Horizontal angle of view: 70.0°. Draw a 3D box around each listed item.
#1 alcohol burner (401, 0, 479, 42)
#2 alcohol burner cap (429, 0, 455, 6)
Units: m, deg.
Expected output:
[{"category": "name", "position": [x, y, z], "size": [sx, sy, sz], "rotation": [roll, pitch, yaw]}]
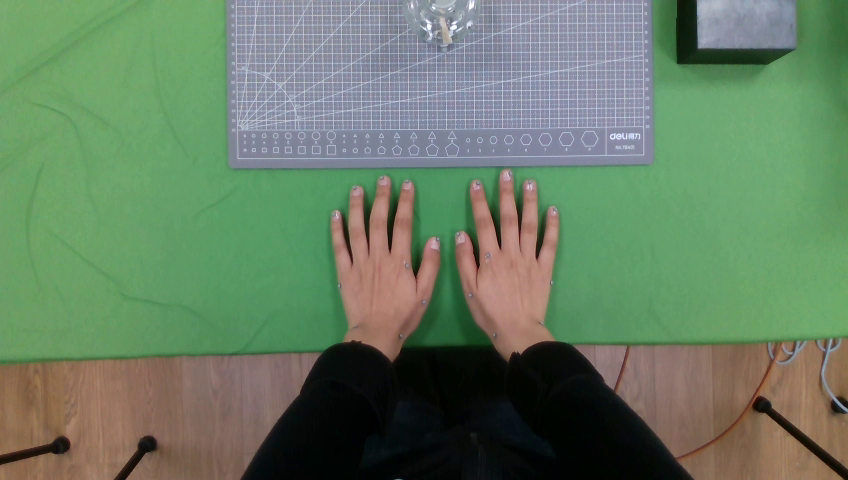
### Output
[{"category": "alcohol burner", "position": [0.017, -0.238, 0.586], "size": [0.078, 0.119, 0.078], "rotation": [0, 90, -3]}, {"category": "alcohol burner cap", "position": [0.017, -0.236, 0.552], "size": [0.034, 0.048, 0.034], "rotation": [0, 94, -4]}]
